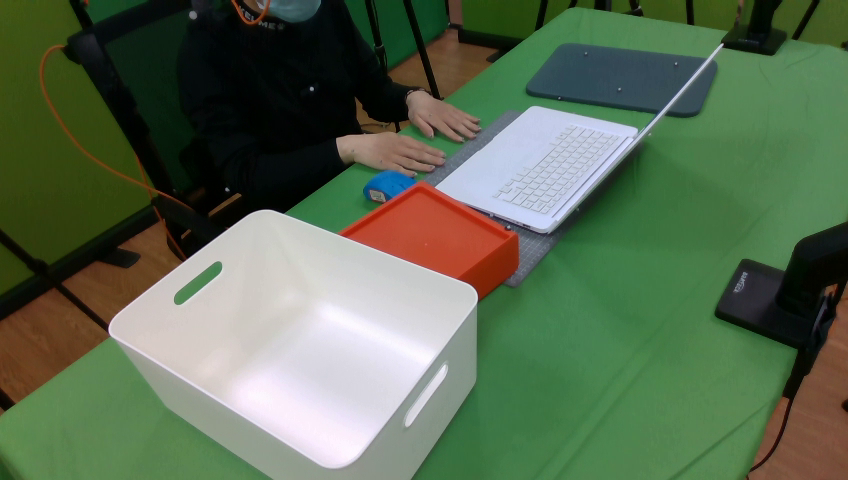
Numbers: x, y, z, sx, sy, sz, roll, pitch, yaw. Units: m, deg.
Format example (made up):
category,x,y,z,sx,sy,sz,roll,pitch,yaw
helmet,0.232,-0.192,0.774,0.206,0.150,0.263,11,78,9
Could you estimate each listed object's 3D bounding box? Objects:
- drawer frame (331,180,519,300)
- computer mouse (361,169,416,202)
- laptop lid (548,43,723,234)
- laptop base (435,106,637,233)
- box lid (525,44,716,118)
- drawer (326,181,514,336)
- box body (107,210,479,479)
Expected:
category,x,y,z,sx,sy,sz,roll,pitch,yaw
drawer frame,-0.003,0.020,0.901,0.202,0.083,0.211,-35,48,-28
computer mouse,-0.054,-0.093,1.073,0.116,0.041,0.063,22,46,29
laptop lid,0.336,-0.160,0.956,0.013,0.241,0.358,43,54,8
laptop base,0.210,-0.142,1.111,0.233,0.023,0.355,21,48,33
box lid,0.432,-0.360,1.342,0.369,0.015,0.263,16,45,24
drawer,-0.005,0.019,0.902,0.195,0.073,0.210,-34,48,-27
box body,-0.140,0.136,0.725,0.361,0.161,0.254,19,47,28
